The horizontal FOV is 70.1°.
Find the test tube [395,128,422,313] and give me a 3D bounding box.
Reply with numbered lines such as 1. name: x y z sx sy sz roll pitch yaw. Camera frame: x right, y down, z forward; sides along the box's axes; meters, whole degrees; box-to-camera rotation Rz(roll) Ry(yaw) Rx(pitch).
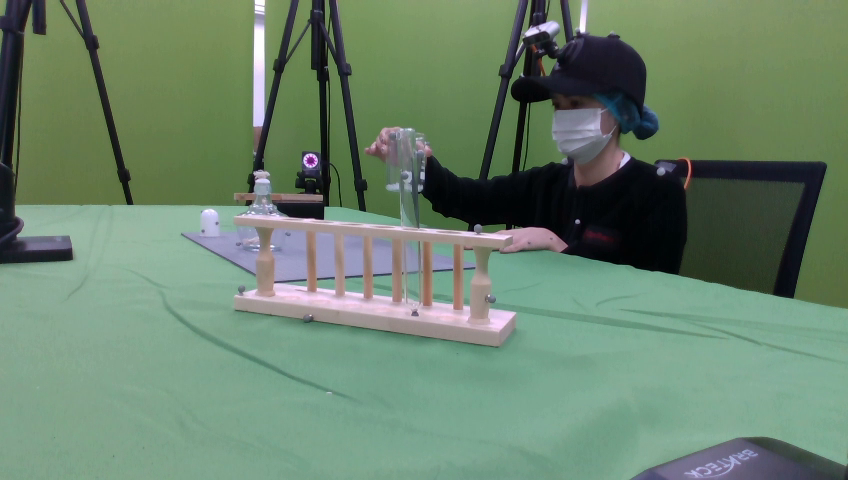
1. test tube: -0.012 -0.015 0.491 0.017 0.150 0.017 -2 5 1

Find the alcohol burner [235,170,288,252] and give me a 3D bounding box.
1. alcohol burner: -0.236 -0.042 0.882 0.078 0.119 0.078 2 9 0

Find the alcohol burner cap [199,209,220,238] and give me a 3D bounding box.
1. alcohol burner cap: -0.356 -0.027 1.002 0.034 0.048 0.034 2 7 0

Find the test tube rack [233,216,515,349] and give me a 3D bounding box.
1. test tube rack: -0.045 0.029 0.526 0.241 0.085 0.067 5 8 19

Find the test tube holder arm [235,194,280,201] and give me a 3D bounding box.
1. test tube holder arm: -0.336 -0.086 1.221 0.088 0.015 0.010 -1 16 -29

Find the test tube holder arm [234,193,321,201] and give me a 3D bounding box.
1. test tube holder arm: -0.299 -0.088 1.248 0.179 0.015 0.013 -1 16 -30

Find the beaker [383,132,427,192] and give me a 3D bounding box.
1. beaker: -0.035 -0.136 1.059 0.074 0.100 0.084 3 1 10
